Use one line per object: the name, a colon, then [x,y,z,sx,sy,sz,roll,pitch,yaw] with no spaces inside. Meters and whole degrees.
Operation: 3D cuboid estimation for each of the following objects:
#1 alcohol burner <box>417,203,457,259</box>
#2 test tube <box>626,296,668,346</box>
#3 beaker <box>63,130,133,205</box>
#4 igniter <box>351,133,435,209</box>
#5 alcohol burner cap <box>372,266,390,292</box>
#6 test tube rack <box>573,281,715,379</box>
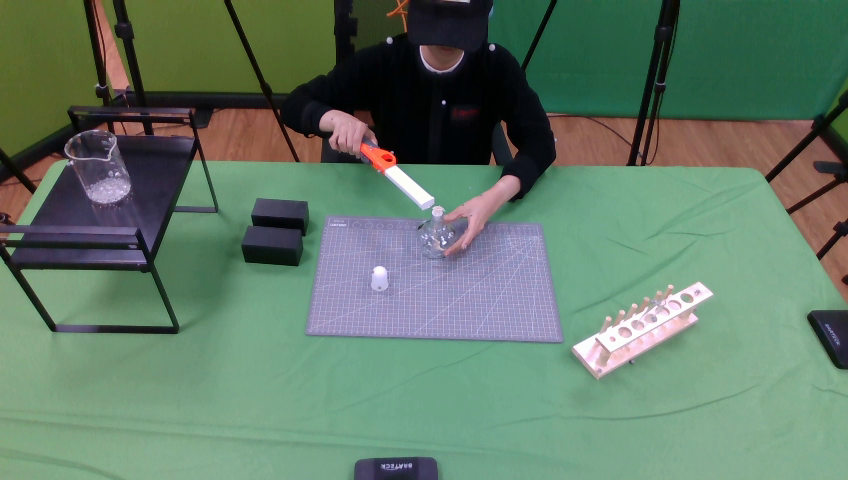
alcohol burner: [0.025,-0.022,1.150,0.078,0.120,0.077,1,45,0]
test tube: [0.352,0.133,0.970,0.017,0.151,0.017,3,54,-4]
beaker: [-0.511,-0.112,0.964,0.083,0.101,0.074,31,52,23]
igniter: [-0.069,-0.143,1.199,0.057,0.025,0.275,-27,49,-24]
alcohol burner cap: [-0.080,0.069,1.105,0.034,0.048,0.033,1,46,0]
test tube rack: [0.378,0.140,1.038,0.242,0.085,0.066,-22,51,-23]
